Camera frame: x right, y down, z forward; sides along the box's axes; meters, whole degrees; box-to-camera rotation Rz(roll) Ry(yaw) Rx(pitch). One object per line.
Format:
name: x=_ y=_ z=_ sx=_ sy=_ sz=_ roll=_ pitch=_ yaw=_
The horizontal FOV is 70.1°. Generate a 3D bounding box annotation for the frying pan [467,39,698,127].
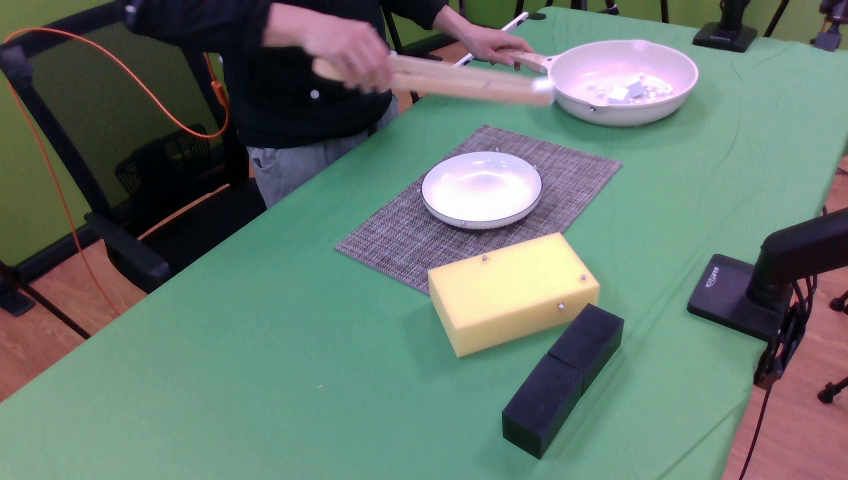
frying pan: x=0.312 y=-0.359 z=1.277 sx=0.485 sy=0.103 sz=0.307 roll=23 pitch=48 yaw=19

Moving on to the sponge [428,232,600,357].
sponge: x=0.120 y=0.071 z=0.834 sx=0.207 sy=0.061 sz=0.117 roll=-15 pitch=43 yaw=-12

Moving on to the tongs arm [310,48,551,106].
tongs arm: x=0.018 y=-0.254 z=0.953 sx=0.387 sy=0.026 sz=0.050 roll=2 pitch=47 yaw=-18

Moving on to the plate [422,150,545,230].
plate: x=0.101 y=-0.082 z=1.031 sx=0.207 sy=0.039 sz=0.206 roll=-4 pitch=40 yaw=4

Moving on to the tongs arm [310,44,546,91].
tongs arm: x=0.016 y=-0.270 z=0.968 sx=0.389 sy=0.028 sz=0.028 roll=5 pitch=50 yaw=-15
